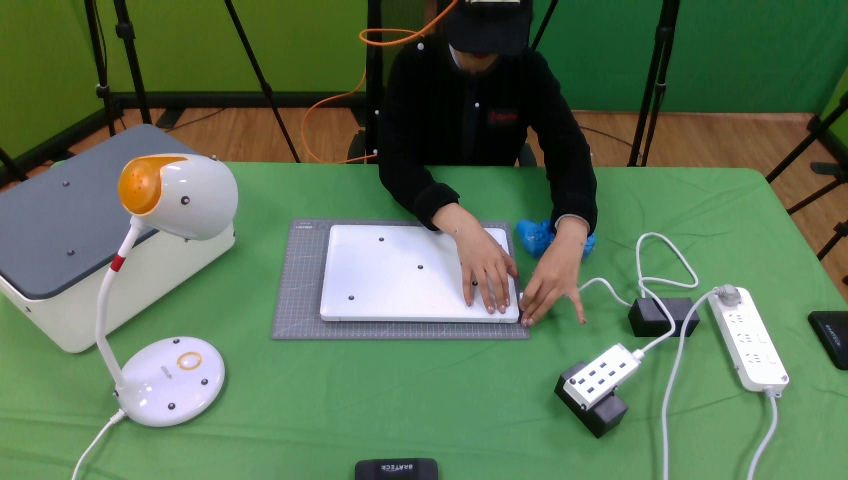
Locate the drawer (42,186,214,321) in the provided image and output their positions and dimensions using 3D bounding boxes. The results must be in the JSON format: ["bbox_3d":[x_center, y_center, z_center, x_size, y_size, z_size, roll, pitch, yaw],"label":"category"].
[{"bbox_3d":[-0.529,0.018,1.097,0.194,0.073,0.211,29,53,20],"label":"drawer"}]

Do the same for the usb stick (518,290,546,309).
[{"bbox_3d":[0.187,0.107,1.086,0.059,0.027,0.021,-8,42,2],"label":"usb stick"}]

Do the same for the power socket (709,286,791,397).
[{"bbox_3d":[0.568,0.167,1.064,0.072,0.033,0.225,2,46,-1],"label":"power socket"}]

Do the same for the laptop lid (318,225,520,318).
[{"bbox_3d":[-0.009,0.053,1.131,0.357,0.013,0.240,2,44,-2],"label":"laptop lid"}]

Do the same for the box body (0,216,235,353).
[{"bbox_3d":[-0.550,-0.006,1.068,0.253,0.161,0.363,30,51,23],"label":"box body"}]

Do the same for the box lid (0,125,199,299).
[{"bbox_3d":[-0.540,-0.068,1.016,0.262,0.015,0.371,30,51,23],"label":"box lid"}]

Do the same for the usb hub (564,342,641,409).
[{"bbox_3d":[0.278,0.208,0.942,0.125,0.025,0.049,-27,52,-28],"label":"usb hub"}]

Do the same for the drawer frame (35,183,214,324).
[{"bbox_3d":[-0.531,0.018,1.092,0.201,0.083,0.213,29,52,21],"label":"drawer frame"}]

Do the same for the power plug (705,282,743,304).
[{"bbox_3d":[0.539,0.097,1.098,0.072,0.053,0.035,8,47,8],"label":"power plug"}]

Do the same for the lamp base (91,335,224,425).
[{"bbox_3d":[-0.401,0.171,0.892,0.160,0.181,0.179,30,53,23],"label":"lamp base"}]

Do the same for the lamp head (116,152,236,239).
[{"bbox_3d":[-0.315,-0.057,0.748,0.112,0.112,0.123,26,10,20],"label":"lamp head"}]

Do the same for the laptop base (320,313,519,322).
[{"bbox_3d":[-0.009,0.063,1.138,0.354,0.023,0.234,1,43,-3],"label":"laptop base"}]

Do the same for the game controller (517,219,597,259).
[{"bbox_3d":[0.269,-0.012,1.210,0.155,0.052,0.096,1,50,-3],"label":"game controller"}]
